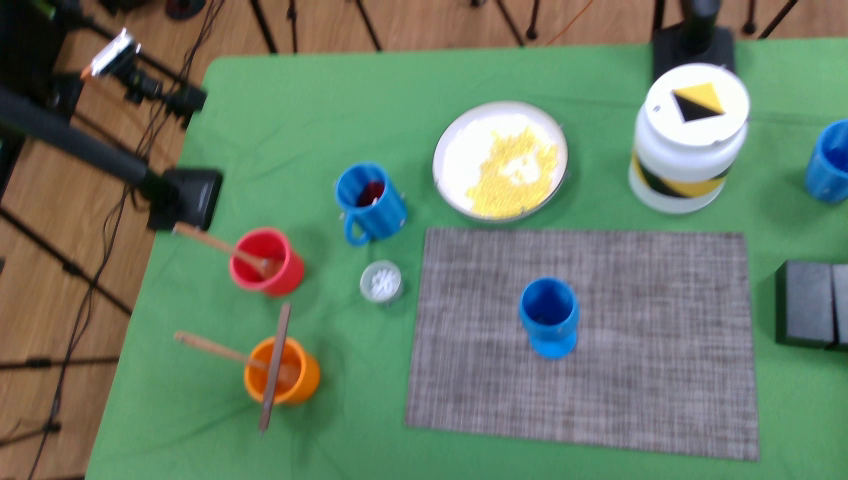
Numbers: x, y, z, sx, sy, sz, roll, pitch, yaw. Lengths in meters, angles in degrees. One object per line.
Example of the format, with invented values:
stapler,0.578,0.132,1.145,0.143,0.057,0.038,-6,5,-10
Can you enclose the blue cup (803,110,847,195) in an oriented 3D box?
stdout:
blue cup,0.543,-0.106,0.788,0.092,0.101,0.092,-5,69,14

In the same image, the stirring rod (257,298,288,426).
stirring rod,-0.208,0.166,0.834,0.014,0.006,0.175,1,71,14

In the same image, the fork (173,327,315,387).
fork,-0.248,0.163,0.848,0.209,0.018,0.028,27,81,-24

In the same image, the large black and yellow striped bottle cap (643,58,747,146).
large black and yellow striped bottle cap,0.323,-0.167,0.726,0.115,0.019,0.114,-4,68,11

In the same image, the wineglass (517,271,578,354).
wineglass,0.156,0.095,0.760,0.073,0.174,0.073,-5,68,12

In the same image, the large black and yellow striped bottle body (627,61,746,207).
large black and yellow striped bottle body,0.343,-0.137,0.802,0.130,0.185,0.130,-5,69,12

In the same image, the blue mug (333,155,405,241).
blue mug,-0.089,-0.053,0.916,0.082,0.107,0.116,22,76,20

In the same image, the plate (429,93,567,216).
plate,0.114,-0.129,0.934,0.209,0.038,0.207,-4,70,12

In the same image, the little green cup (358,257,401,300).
little green cup,-0.064,0.060,0.904,0.061,0.039,0.061,-5,69,12

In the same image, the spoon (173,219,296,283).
spoon,-0.283,0.013,0.916,0.195,0.021,0.041,30,76,-23
